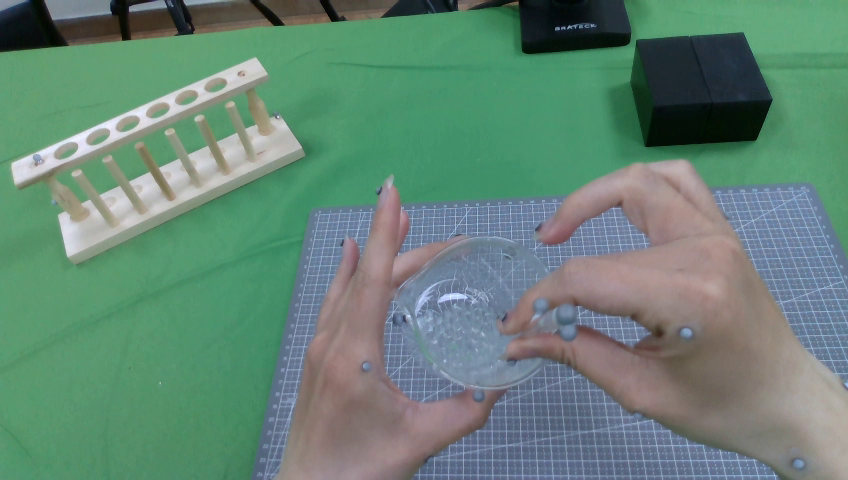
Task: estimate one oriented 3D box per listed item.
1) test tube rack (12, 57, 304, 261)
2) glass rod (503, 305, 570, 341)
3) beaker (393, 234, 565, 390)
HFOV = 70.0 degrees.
[{"bbox_3d":[-0.249,-0.080,0.590,0.242,0.086,0.066,-28,54,-12],"label":"test tube rack"},{"bbox_3d":[0.048,0.042,0.281,0.008,0.200,0.008,0,79,3],"label":"glass rod"},{"bbox_3d":[0.022,0.042,0.334,0.084,0.100,0.073,11,78,-4],"label":"beaker"}]
